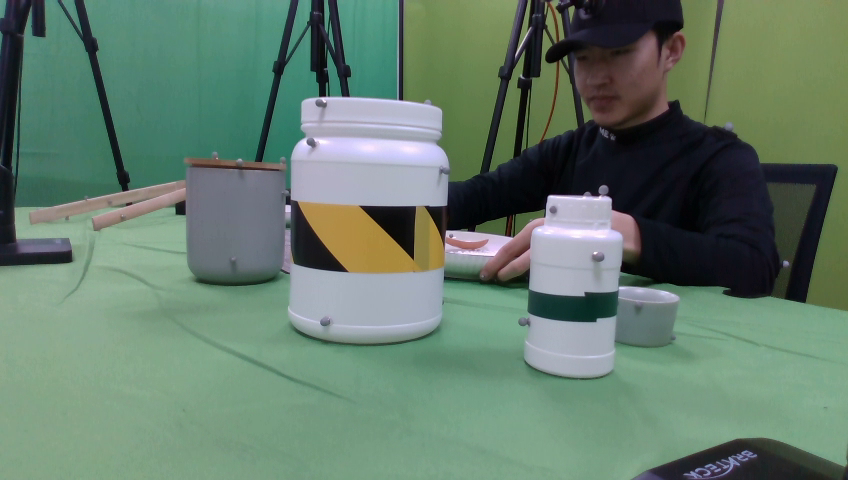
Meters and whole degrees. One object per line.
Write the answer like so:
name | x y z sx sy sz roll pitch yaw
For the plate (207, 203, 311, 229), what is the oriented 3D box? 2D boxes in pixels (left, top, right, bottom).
plate | -0.342 -0.050 1.259 0.208 0.039 0.207 2 7 0

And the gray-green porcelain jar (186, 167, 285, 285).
gray-green porcelain jar | -0.212 -0.017 0.682 0.106 0.126 0.106 2 7 0

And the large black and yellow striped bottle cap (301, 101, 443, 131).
large black and yellow striped bottle cap | -0.042 -0.100 0.491 0.115 0.019 0.115 1 8 0

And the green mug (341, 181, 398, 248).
green mug | -0.089 -0.044 0.997 0.093 0.105 0.125 1 7 -8

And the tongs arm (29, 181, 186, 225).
tongs arm | -0.609 -0.083 1.245 0.050 0.026 0.386 5 16 23

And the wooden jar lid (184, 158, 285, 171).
wooden jar lid | -0.210 -0.078 0.674 0.108 0.020 0.108 5 6 0

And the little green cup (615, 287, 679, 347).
little green cup | 0.180 0.064 0.506 0.061 0.038 0.061 1 8 0

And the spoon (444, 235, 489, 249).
spoon | 0.000 -0.008 0.863 0.194 0.021 0.041 10 -6 -11

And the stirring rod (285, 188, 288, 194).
stirring rod | -0.354 -0.122 1.518 0.006 0.014 0.176 2 7 1

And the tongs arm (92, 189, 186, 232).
tongs arm | -0.534 -0.076 1.222 0.028 0.028 0.388 -2 15 12

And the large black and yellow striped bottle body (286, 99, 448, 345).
large black and yellow striped bottle body | -0.047 -0.018 0.501 0.131 0.184 0.130 2 7 0

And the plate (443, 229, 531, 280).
plate | 0.056 0.019 0.815 0.209 0.038 0.209 3 9 0

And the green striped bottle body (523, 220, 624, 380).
green striped bottle body | 0.104 0.031 0.422 0.063 0.119 0.063 2 8 0

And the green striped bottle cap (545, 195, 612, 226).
green striped bottle cap | 0.106 -0.020 0.414 0.044 0.020 0.044 2 4 0
